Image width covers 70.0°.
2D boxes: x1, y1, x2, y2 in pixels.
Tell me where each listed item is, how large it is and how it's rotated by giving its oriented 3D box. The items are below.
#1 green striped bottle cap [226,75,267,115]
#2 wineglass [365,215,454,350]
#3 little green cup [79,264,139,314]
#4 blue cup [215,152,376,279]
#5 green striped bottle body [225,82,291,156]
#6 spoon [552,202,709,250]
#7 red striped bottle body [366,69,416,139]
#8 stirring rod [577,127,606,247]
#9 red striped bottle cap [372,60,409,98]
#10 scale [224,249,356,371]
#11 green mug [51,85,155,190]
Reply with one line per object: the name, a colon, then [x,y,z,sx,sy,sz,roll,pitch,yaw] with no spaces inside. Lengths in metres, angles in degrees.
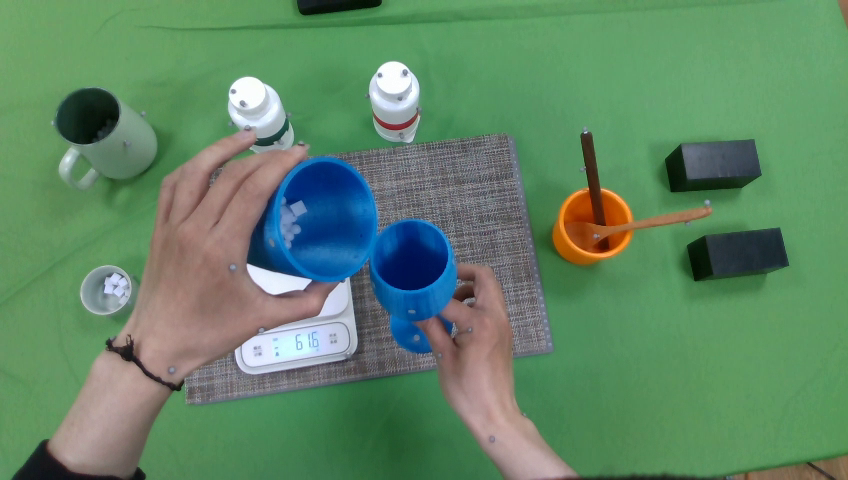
green striped bottle cap: [-0.209,-0.171,0.713,0.044,0.020,0.044,0,76,0]
wineglass: [-0.009,0.045,0.531,0.074,0.173,0.073,-1,66,2]
little green cup: [-0.386,0.063,0.750,0.061,0.039,0.061,1,77,-3]
blue cup: [-0.100,-0.014,0.437,0.099,0.093,0.092,-3,71,44]
green striped bottle body: [-0.210,-0.156,0.767,0.063,0.119,0.063,0,76,-2]
spoon: [0.244,-0.020,0.735,0.022,0.193,0.041,-2,82,-47]
red striped bottle body: [-0.042,-0.181,0.779,0.063,0.120,0.062,0,76,-2]
stirring rod: [0.206,-0.060,0.742,0.014,0.178,0.006,2,41,28]
red striped bottle cap: [-0.040,-0.194,0.727,0.044,0.018,0.044,0,73,-1]
scale: [-0.170,0.055,0.759,0.149,0.031,0.200,-8,77,-4]
green mug: [-0.409,-0.120,0.759,0.092,0.105,0.125,27,77,5]
